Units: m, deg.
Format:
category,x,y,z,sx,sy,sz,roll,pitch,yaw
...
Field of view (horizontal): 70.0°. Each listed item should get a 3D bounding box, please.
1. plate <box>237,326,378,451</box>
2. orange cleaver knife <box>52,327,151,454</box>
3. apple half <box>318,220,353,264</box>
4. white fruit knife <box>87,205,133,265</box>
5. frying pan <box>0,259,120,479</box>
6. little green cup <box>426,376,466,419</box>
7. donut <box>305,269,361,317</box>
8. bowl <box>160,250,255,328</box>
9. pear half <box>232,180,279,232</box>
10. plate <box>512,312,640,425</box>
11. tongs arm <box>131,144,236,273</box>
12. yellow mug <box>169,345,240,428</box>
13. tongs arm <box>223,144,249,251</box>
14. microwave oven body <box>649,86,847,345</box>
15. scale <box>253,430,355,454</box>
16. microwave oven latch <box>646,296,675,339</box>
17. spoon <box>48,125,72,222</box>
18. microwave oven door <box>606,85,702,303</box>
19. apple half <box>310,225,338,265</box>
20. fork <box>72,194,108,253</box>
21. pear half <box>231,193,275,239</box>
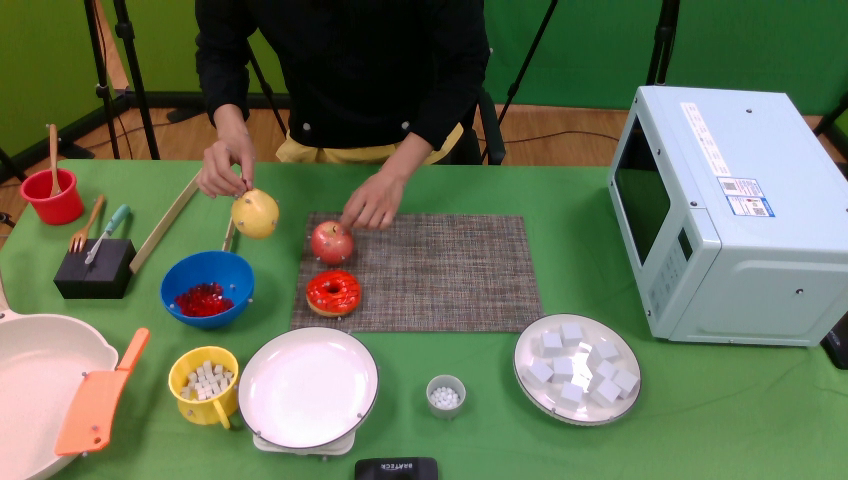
category,x,y,z,sx,sy,sz,roll,pitch,yaw
plate,-0.174,0.224,0.917,0.209,0.038,0.208,2,46,-2
orange cleaver knife,-0.462,0.212,0.879,0.077,0.012,0.210,6,45,-1
apple half,-0.162,0.001,1.145,0.053,0.075,0.080,-25,50,-28
white fruit knife,-0.584,-0.013,1.129,0.016,0.027,0.206,0,31,-5
frying pan,-0.647,0.164,0.936,0.307,0.103,0.485,-19,58,-22
little green cup,0.033,0.248,0.950,0.061,0.039,0.061,2,46,-2
donut,-0.160,0.094,1.075,0.099,0.048,0.098,4,46,-4
bowl,-0.362,0.098,1.040,0.151,0.077,0.150,2,45,-2
pear half,-0.287,-0.064,1.027,0.076,0.110,0.055,-1,42,-1
plate,0.246,0.213,0.999,0.208,0.039,0.206,2,46,-2
tongs arm,-0.483,-0.078,1.234,0.028,0.028,0.385,6,45,12
yellow mug,-0.322,0.230,0.922,0.100,0.064,0.130,-24,53,-25
tongs arm,-0.397,-0.073,1.232,0.051,0.026,0.382,-1,45,-1
microwave oven body,0.567,-0.053,1.118,0.326,0.261,0.439,2,45,-1
scale,-0.175,0.236,0.951,0.149,0.032,0.199,4,45,0
microwave oven latch,0.412,0.134,1.061,0.030,0.029,0.078,4,45,1
spoon,-0.718,-0.131,1.189,0.041,0.021,0.193,-3,90,-7
microwave oven door,0.422,-0.094,1.140,0.039,0.245,0.353,2,46,-1
apple half,-0.192,0.017,1.125,0.033,0.081,0.081,-26,53,-30
fork,-0.634,-0.036,1.158,0.028,0.019,0.206,-7,31,-9
pear half,-0.287,-0.033,1.006,0.070,0.088,0.031,-3,40,-1
